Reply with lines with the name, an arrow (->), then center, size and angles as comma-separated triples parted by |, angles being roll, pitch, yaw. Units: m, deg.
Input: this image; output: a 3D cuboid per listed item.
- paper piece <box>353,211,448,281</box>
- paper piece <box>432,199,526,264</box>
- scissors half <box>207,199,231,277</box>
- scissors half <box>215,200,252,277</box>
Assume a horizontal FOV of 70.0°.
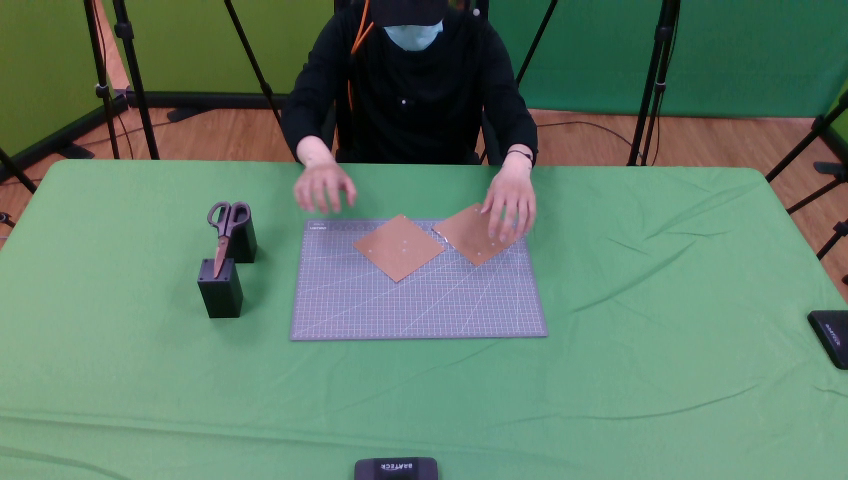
paper piece -> -0.047, 0.008, 1.188 | 0.135, 0.004, 0.134 | -33, 57, -30
paper piece -> 0.111, -0.021, 1.227 | 0.138, 0.009, 0.135 | -29, 58, -29
scissors half -> -0.352, -0.006, 1.042 | 0.040, 0.013, 0.174 | -2, 50, -17
scissors half -> -0.332, -0.005, 1.046 | 0.040, 0.013, 0.174 | 8, 48, -1
